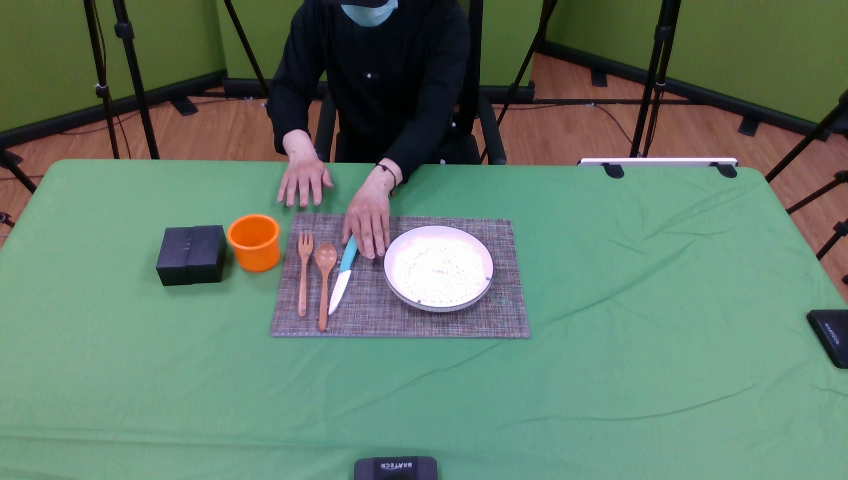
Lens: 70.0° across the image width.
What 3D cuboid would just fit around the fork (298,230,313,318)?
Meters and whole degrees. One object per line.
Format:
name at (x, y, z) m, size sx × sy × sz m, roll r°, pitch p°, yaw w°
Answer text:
fork at (-0.222, 0.058, 1.121) m, size 0.028 × 0.019 × 0.206 m, roll 3°, pitch 44°, yaw -10°

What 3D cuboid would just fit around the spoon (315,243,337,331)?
spoon at (-0.182, 0.082, 1.098) m, size 0.042 × 0.022 × 0.192 m, roll 11°, pitch 43°, yaw -17°

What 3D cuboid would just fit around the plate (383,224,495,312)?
plate at (0.026, 0.055, 1.128) m, size 0.209 × 0.038 × 0.208 m, roll 2°, pitch 46°, yaw -2°

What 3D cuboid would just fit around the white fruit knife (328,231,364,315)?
white fruit knife at (-0.148, 0.057, 1.129) m, size 0.027 × 0.016 × 0.206 m, roll 1°, pitch 45°, yaw 12°
